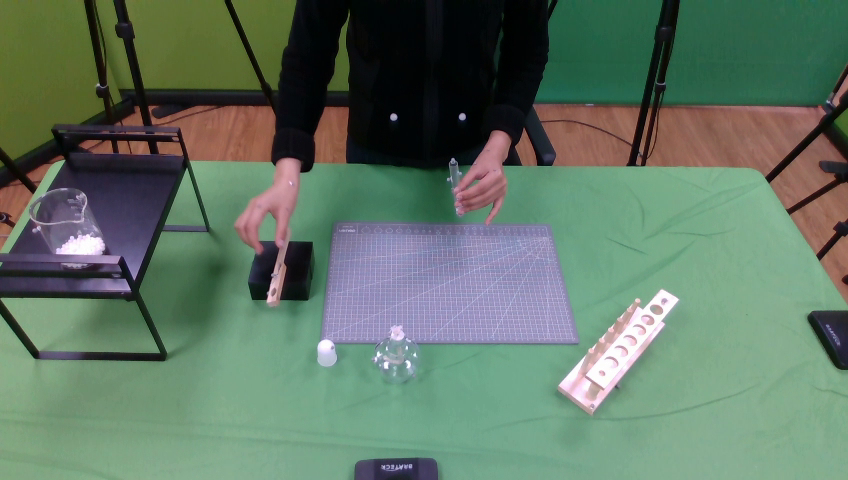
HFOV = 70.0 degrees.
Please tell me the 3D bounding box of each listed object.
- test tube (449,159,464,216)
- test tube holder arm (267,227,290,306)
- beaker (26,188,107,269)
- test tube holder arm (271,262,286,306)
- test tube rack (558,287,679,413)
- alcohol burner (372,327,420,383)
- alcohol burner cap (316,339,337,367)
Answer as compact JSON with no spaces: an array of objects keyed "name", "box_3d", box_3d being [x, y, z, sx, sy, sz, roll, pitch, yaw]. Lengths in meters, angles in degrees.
[{"name":"test tube","box_3d":[0.058,-0.090,1.074,0.017,0.151,0.017,-4,56,6]},{"name":"test tube holder arm","box_3d":[-0.256,0.043,1.070,0.013,0.015,0.177,-7,46,5]},{"name":"beaker","box_3d":[-0.504,-0.013,0.868,0.084,0.101,0.074,23,49,17]},{"name":"test tube holder arm","box_3d":[-0.249,0.074,1.039,0.010,0.015,0.087,-7,46,6]},{"name":"test tube rack","box_3d":[0.326,0.170,1.009,0.066,0.085,0.242,36,54,26]},{"name":"alcohol burner","box_3d":[-0.045,0.175,0.961,0.078,0.120,0.077,1,47,-1]},{"name":"alcohol burner cap","box_3d":[-0.161,0.182,0.995,0.034,0.048,0.033,2,47,-2]}]
